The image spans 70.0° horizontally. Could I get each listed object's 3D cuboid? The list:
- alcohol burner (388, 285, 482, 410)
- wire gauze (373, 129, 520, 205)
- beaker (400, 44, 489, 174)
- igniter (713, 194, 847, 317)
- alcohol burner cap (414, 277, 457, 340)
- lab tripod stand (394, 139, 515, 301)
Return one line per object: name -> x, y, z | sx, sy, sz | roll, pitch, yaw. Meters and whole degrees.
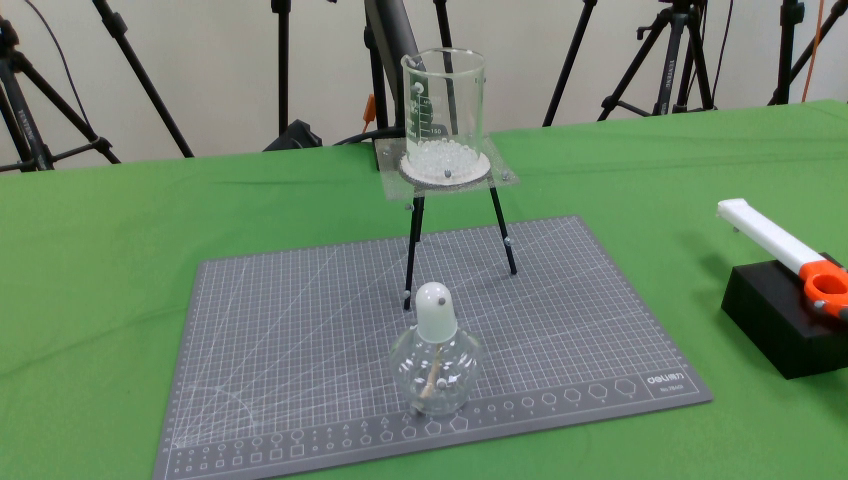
alcohol burner -> 0.009, 0.079, 0.485 | 0.078, 0.120, 0.077 | 0, 37, 1
wire gauze -> 0.016, -0.077, 0.575 | 0.121, 0.011, 0.123 | -7, 37, -7
beaker -> 0.015, -0.118, 0.548 | 0.074, 0.101, 0.083 | -29, 43, -35
igniter -> 0.354, 0.027, 0.543 | 0.057, 0.025, 0.273 | -9, 32, -8
alcohol burner cap -> 0.008, 0.050, 0.464 | 0.034, 0.048, 0.033 | -3, 39, 3
lab tripod stand -> 0.023, -0.025, 0.616 | 0.148, 0.132, 0.147 | 0, 34, 0
